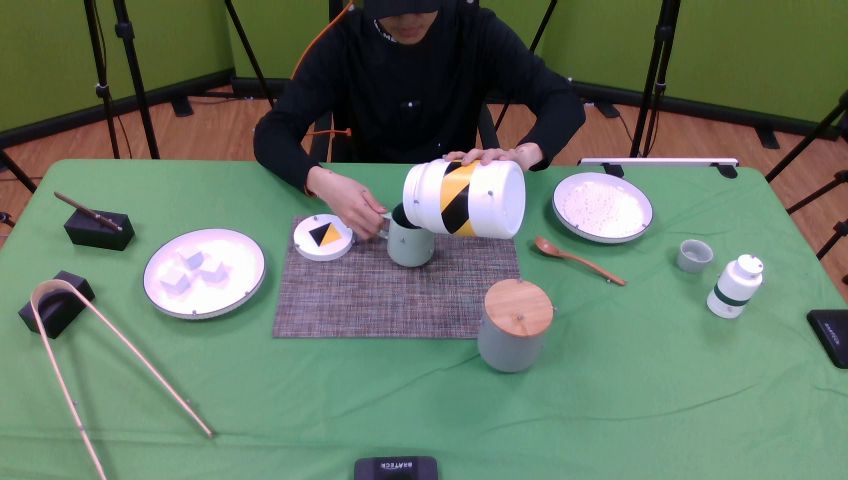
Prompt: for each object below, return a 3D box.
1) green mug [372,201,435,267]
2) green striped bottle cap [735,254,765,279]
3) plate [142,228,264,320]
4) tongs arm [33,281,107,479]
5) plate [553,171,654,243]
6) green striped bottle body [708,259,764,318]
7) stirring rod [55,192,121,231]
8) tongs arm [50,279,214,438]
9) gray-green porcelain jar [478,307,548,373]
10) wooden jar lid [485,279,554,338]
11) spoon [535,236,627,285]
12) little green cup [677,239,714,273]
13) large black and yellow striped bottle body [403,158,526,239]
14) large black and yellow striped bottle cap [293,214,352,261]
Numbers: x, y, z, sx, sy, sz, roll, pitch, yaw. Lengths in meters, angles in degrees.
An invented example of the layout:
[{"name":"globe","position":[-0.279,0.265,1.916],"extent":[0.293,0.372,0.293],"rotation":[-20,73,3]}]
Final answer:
[{"name":"green mug","position":[-0.040,-0.015,1.145],"extent":[0.125,0.105,0.092],"rotation":[16,48,11]},{"name":"green striped bottle cap","position":[0.566,0.046,1.051],"extent":[0.044,0.020,0.044],"rotation":[0,45,0]},{"name":"plate","position":[-0.394,0.064,1.095],"extent":[0.208,0.039,0.206],"rotation":[2,46,-2]},{"name":"tongs arm","position":[-0.517,0.214,0.910],"extent":[0.051,0.026,0.383],"rotation":[-29,63,-27]},{"name":"plate","position":[0.373,-0.066,1.274],"extent":[0.209,0.038,0.208],"rotation":[2,46,-2]},{"name":"green striped bottle body","position":[0.563,0.081,1.089],"extent":[0.063,0.120,0.063],"rotation":[2,46,-2]},{"name":"stirring rod","position":[-0.632,-0.055,1.138],"extent":[0.175,0.014,0.006],"rotation":[24,50,19]},{"name":"tongs arm","position":[-0.459,0.178,0.949],"extent":[0.386,0.028,0.028],"rotation":[37,60,17]},{"name":"gray-green porcelain jar","position":[0.144,0.148,0.989],"extent":[0.106,0.127,0.105],"rotation":[2,50,-2]},{"name":"wooden jar lid","position":[0.147,0.108,0.940],"extent":[0.108,0.021,0.107],"rotation":[4,47,-4]},{"name":"spoon","position":[0.303,0.040,1.178],"extent":[0.193,0.022,0.041],"rotation":[25,31,20]},{"name":"little green cup","position":[0.530,0.033,1.189],"extent":[0.061,0.039,0.061],"rotation":[2,47,-2]},{"name":"large black and yellow striped bottle body","position":[0.068,-0.073,1.030],"extent":[0.183,0.131,0.130],"rotation":[5,43,27]},{"name":"large black and yellow striped bottle cap","position":[-0.198,-0.007,1.187],"extent":[0.115,0.019,0.114],"rotation":[3,47,-3]}]
